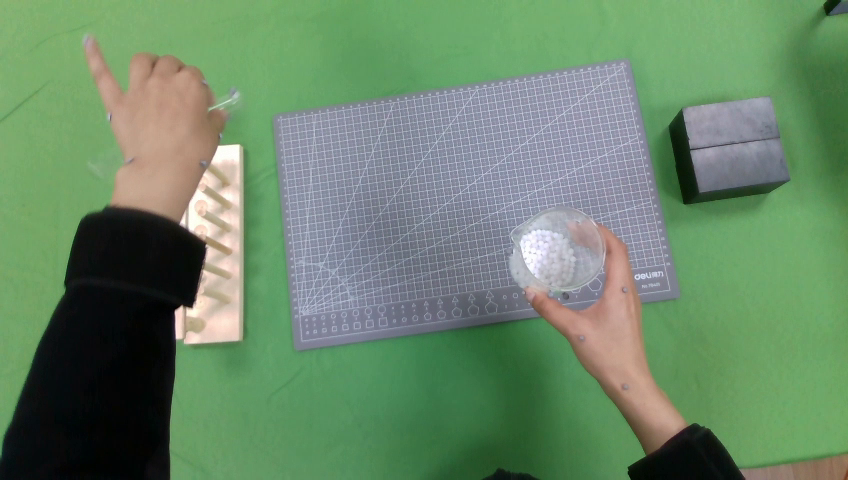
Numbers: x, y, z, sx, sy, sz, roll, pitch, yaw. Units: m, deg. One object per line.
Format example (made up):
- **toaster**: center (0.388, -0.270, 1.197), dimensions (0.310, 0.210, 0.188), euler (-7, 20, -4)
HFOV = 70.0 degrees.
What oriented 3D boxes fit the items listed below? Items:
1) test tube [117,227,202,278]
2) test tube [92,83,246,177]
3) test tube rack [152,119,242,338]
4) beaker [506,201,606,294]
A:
- **test tube**: center (-0.277, 0.017, 0.648), dimensions (0.017, 0.151, 0.017), euler (-2, 72, 7)
- **test tube**: center (-0.228, -0.100, 0.547), dimensions (0.150, 0.017, 0.017), euler (-36, 78, -19)
- **test tube rack**: center (-0.259, -0.011, 0.703), dimensions (0.067, 0.085, 0.241), euler (-4, 79, 3)
- **beaker**: center (0.114, 0.011, 0.562), dimensions (0.084, 0.100, 0.074), euler (18, 80, 3)
